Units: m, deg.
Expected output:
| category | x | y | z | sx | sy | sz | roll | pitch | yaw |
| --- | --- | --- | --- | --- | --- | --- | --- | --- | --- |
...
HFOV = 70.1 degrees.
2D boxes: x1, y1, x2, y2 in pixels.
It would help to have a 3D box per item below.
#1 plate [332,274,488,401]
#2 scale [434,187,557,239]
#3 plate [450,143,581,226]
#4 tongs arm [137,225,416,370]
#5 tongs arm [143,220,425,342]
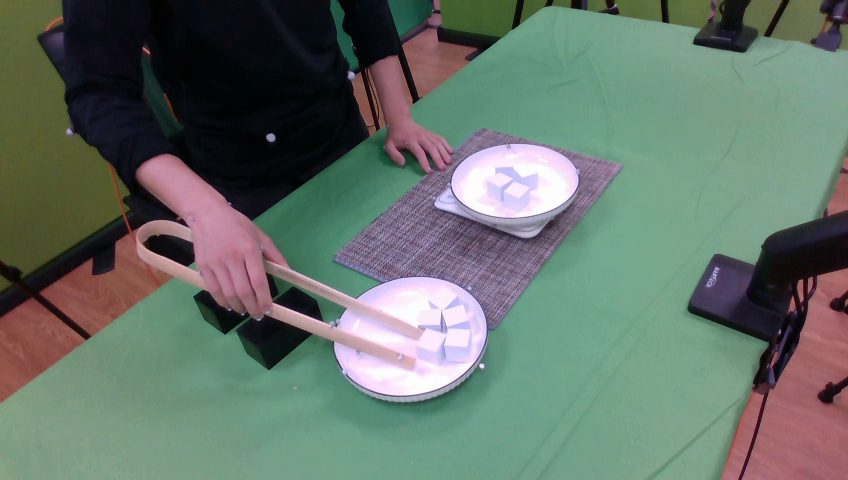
| category | x | y | z | sx | sy | sz | roll | pitch | yaw |
| --- | --- | --- | --- | --- | --- | --- | --- | --- | --- |
| plate | -0.017 | 0.130 | 0.808 | 0.207 | 0.039 | 0.206 | -4 | 41 | 4 |
| scale | 0.132 | -0.074 | 1.025 | 0.199 | 0.032 | 0.149 | 22 | 48 | 30 |
| plate | 0.148 | -0.087 | 0.986 | 0.209 | 0.038 | 0.208 | -4 | 41 | 4 |
| tongs arm | -0.188 | 0.074 | 0.771 | 0.385 | 0.026 | 0.050 | 21 | 45 | -4 |
| tongs arm | -0.179 | 0.055 | 0.793 | 0.388 | 0.028 | 0.028 | 23 | 48 | -2 |
